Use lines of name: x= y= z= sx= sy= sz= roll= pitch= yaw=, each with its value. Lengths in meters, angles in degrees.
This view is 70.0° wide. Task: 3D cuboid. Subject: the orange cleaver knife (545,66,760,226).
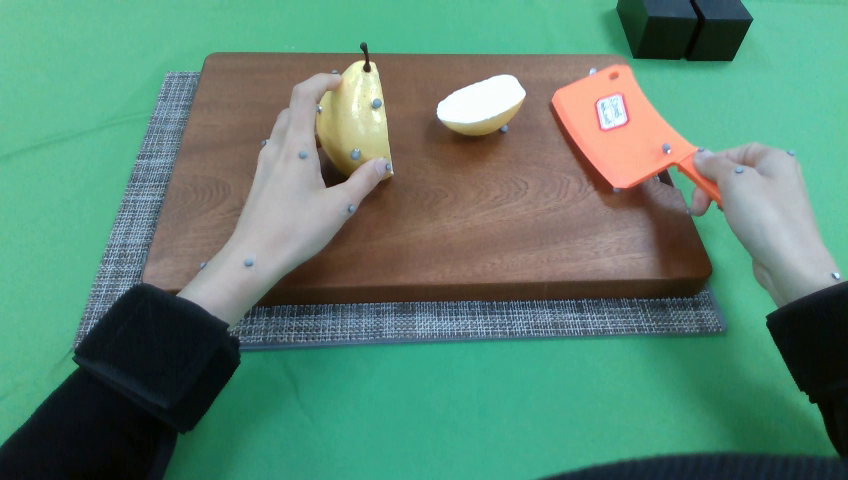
orange cleaver knife: x=0.168 y=-0.073 z=0.476 sx=0.077 sy=0.012 sz=0.209 roll=-33 pitch=49 yaw=5

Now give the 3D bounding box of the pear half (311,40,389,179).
pear half: x=-0.056 y=-0.096 z=0.442 sx=0.056 sy=0.111 sz=0.075 roll=-11 pitch=50 yaw=-10

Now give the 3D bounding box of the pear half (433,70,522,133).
pear half: x=0.048 y=-0.111 z=0.508 sx=0.070 sy=0.031 sz=0.088 roll=20 pitch=46 yaw=29
